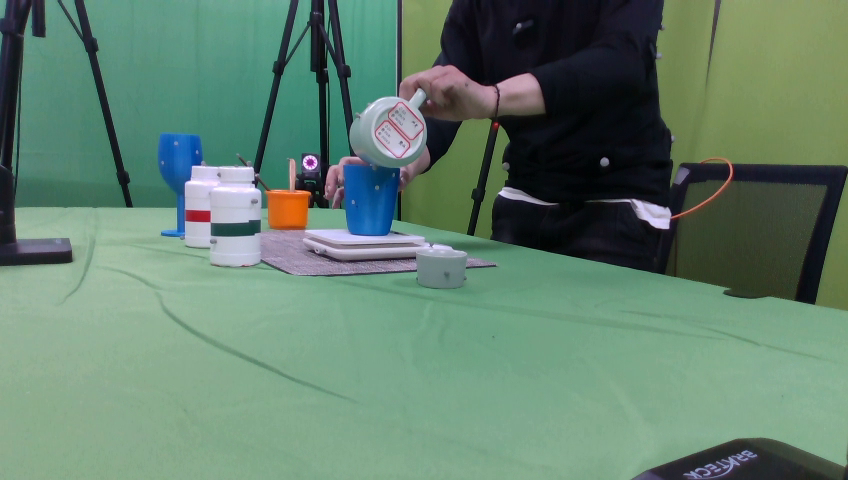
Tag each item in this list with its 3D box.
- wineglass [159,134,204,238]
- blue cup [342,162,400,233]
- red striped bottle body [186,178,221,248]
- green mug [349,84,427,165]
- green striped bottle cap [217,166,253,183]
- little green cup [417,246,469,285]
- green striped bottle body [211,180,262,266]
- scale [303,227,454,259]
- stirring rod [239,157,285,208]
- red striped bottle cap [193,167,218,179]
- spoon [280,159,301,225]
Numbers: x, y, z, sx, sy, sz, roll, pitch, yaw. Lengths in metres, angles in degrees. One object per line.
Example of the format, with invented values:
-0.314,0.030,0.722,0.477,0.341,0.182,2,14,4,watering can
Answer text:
-0.415,-0.093,1.039,0.074,0.172,0.073,2,7,0,wineglass
-0.078,-0.061,0.884,0.093,0.100,0.092,2,4,0,blue cup
-0.331,-0.050,0.927,0.063,0.119,0.063,2,7,0,red striped bottle body
-0.042,-0.161,0.823,0.093,0.125,0.104,41,-9,-19,green mug
-0.242,-0.084,0.776,0.044,0.020,0.044,2,7,0,green striped bottle cap
0.021,0.029,0.701,0.061,0.038,0.061,1,6,0,little green cup
-0.243,-0.029,0.784,0.063,0.119,0.063,2,7,0,green striped bottle body
-0.066,0.001,0.906,0.202,0.031,0.148,-2,8,-31,scale
-0.309,-0.098,1.209,0.006,0.177,0.014,-38,29,-3,stirring rod
-0.329,-0.103,0.921,0.044,0.017,0.044,-1,9,0,red striped bottle cap
-0.273,-0.102,1.252,0.042,0.193,0.021,7,-38,-17,spoon
